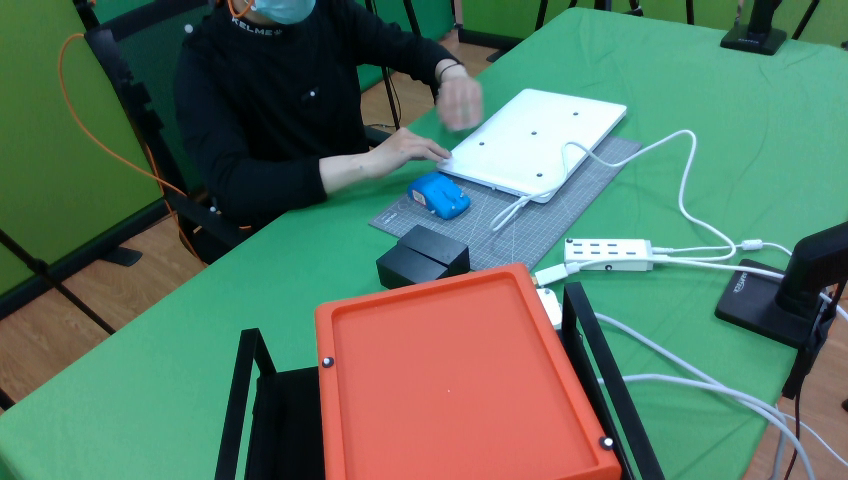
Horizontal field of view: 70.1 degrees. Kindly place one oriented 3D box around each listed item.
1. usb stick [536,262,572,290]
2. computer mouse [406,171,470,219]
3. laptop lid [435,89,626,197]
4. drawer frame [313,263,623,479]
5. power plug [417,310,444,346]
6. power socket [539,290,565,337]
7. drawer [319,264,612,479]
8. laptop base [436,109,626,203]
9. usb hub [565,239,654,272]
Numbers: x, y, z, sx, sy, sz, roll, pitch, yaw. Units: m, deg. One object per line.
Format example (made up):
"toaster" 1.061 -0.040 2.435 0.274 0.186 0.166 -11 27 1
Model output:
"usb stick" 0.182 0.056 0.876 0.059 0.027 0.021 -32 89 -4
"computer mouse" 0.024 -0.082 1.049 0.063 0.041 0.116 -30 50 -27
"laptop lid" 0.211 -0.202 1.165 0.240 0.013 0.358 21 47 32
"drawer frame" 0.021 0.130 0.493 0.202 0.083 0.212 -11 41 -6
"power plug" 0.007 0.123 0.785 0.035 0.053 0.072 0 39 7
"power socket" 0.081 0.112 0.822 0.227 0.033 0.072 -6 41 0
"drawer" 0.020 0.129 0.497 0.195 0.073 0.210 -11 41 -5
"laptop base" 0.215 -0.192 1.172 0.233 0.023 0.355 19 46 32
"usb hub" 0.275 0.022 0.906 0.125 0.025 0.049 1 41 9
